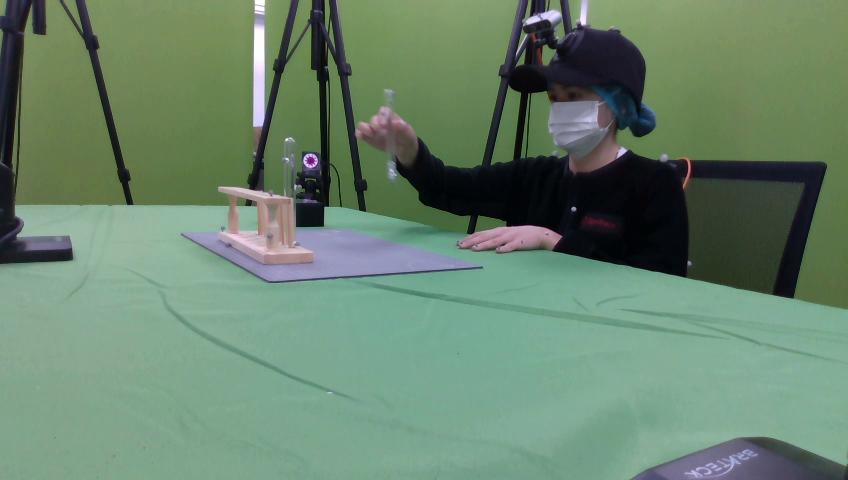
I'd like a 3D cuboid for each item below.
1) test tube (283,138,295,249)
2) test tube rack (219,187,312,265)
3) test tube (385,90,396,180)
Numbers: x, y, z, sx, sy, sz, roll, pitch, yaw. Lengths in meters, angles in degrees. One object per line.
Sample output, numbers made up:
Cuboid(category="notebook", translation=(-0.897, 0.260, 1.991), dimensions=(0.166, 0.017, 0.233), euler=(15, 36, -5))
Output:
Cuboid(category="test tube", translation=(-0.182, -0.062, 0.815), dimensions=(0.017, 0.150, 0.017), euler=(2, 8, 0))
Cuboid(category="test tube rack", translation=(-0.235, -0.027, 0.872), dimensions=(0.067, 0.085, 0.241), euler=(-2, 8, -31))
Cuboid(category="test tube", translation=(-0.057, -0.177, 1.027), dimensions=(0.017, 0.150, 0.017), euler=(-1, 6, 0))
